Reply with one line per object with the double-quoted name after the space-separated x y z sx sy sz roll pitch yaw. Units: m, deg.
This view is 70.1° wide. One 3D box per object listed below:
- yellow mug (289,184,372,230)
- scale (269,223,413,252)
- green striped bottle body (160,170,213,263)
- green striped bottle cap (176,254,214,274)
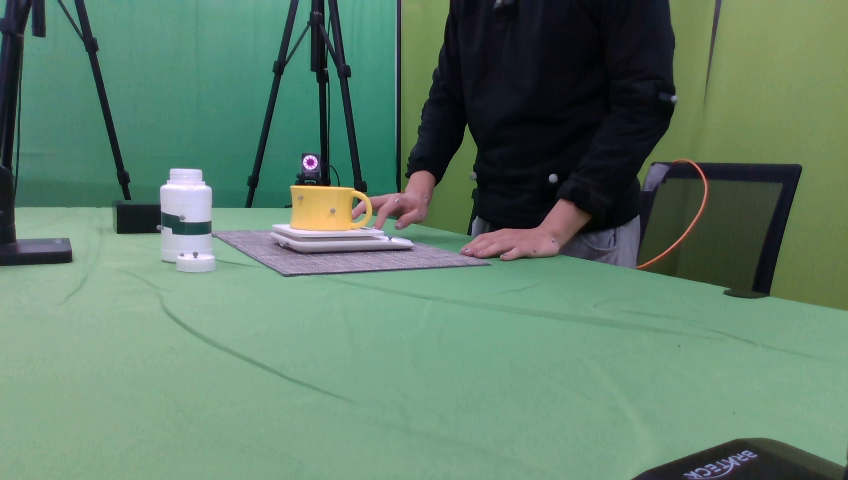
-0.145 -0.052 0.944 0.131 0.064 0.100 4 7 9 "yellow mug"
-0.132 -0.007 0.965 0.202 0.031 0.148 -1 8 -31 "scale"
-0.312 -0.033 0.797 0.063 0.119 0.063 2 7 0 "green striped bottle body"
-0.279 0.029 0.741 0.044 0.020 0.044 6 4 0 "green striped bottle cap"
